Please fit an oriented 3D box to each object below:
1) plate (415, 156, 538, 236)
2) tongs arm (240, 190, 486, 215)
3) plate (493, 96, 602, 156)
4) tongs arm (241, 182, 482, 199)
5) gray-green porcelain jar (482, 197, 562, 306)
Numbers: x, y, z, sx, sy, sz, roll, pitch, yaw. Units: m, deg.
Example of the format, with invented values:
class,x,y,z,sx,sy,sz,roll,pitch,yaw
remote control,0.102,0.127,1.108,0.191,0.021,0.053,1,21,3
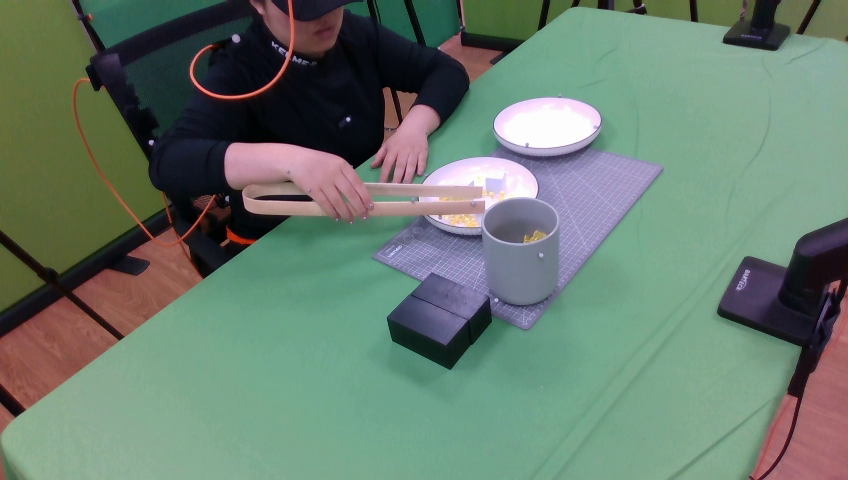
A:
class,x,y,z,sx,sy,sz,roll,pitch,yaw
plate,0.090,-0.072,1.034,0.207,0.039,0.206,-5,40,5
tongs arm,-0.095,-0.061,0.961,0.386,0.026,0.050,-2,37,-6
plate,0.238,-0.218,1.180,0.209,0.038,0.208,-4,39,4
tongs arm,-0.097,-0.079,0.987,0.388,0.028,0.028,-1,41,-5
gray-green porcelain jar,0.138,0.020,0.846,0.106,0.127,0.105,-5,40,5
